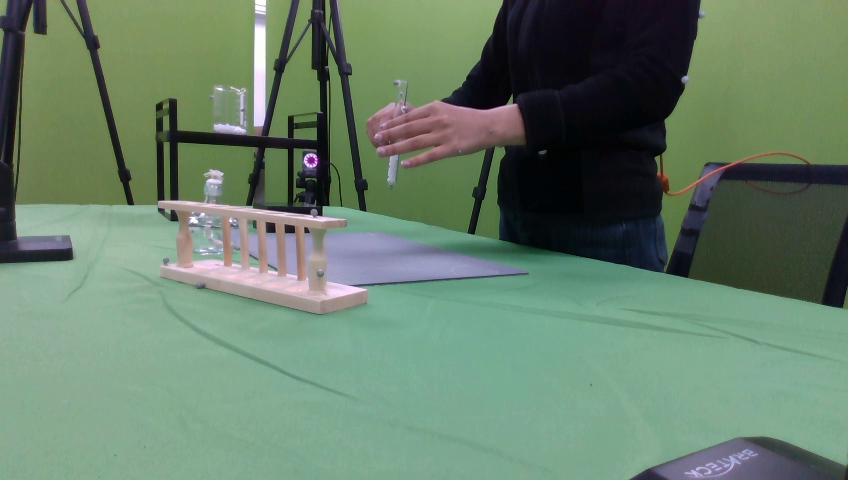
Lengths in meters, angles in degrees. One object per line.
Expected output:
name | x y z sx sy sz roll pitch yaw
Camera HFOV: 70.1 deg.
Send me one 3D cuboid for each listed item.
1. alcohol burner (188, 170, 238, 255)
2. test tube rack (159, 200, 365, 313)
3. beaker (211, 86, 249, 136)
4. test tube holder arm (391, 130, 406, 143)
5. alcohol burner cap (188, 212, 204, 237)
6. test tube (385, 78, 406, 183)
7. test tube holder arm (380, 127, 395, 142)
alcohol burner | -0.298 -0.039 0.852 0.078 0.119 0.078 3 6 0
test tube rack | -0.173 0.008 0.624 0.241 0.085 0.067 7 9 34
beaker | -0.413 -0.274 1.297 0.074 0.100 0.083 -5 11 -44
test tube holder arm | -0.042 -0.154 0.895 0.010 0.015 0.087 2 13 -18
alcohol burner cap | -0.389 -0.029 1.026 0.034 0.048 0.034 2 8 0
test tube | -0.041 -0.156 0.870 0.017 0.150 0.017 7 15 -2
test tube holder arm | -0.057 -0.165 0.937 0.013 0.015 0.178 4 13 -11
